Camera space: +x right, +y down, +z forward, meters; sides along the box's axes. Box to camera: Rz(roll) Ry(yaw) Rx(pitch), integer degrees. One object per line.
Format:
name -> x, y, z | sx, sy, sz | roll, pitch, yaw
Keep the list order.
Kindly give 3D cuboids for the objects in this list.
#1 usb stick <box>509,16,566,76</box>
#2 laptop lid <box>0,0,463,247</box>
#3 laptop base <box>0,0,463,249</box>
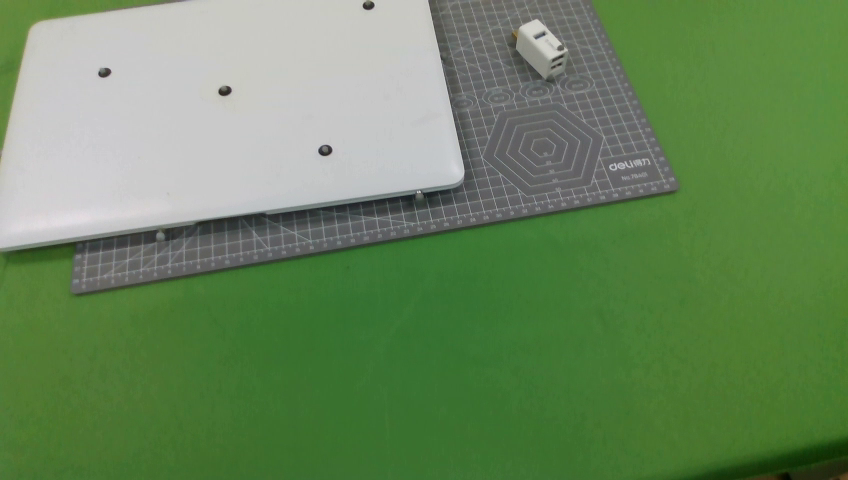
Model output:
usb stick -> 0.095, -0.170, 0.518 | 0.021, 0.027, 0.058 | -29, 61, -13
laptop lid -> -0.160, -0.120, 0.490 | 0.357, 0.013, 0.239 | -7, 63, -2
laptop base -> -0.160, -0.116, 0.502 | 0.354, 0.023, 0.233 | -9, 64, -3
